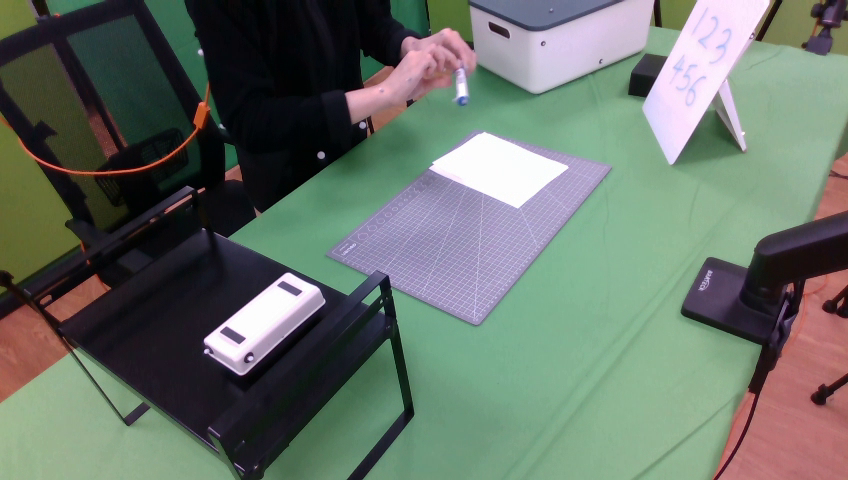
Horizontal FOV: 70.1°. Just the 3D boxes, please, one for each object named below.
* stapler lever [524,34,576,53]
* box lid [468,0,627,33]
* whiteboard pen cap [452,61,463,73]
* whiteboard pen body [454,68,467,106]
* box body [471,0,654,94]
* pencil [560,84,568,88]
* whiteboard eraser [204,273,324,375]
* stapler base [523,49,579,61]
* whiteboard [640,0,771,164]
[{"bbox_3d":[0.297,-0.462,1.423,0.117,0.040,0.027,4,25,17],"label":"stapler lever"},{"bbox_3d":[0.312,-0.554,1.358,0.373,0.015,0.261,-26,44,-20],"label":"box lid"},{"bbox_3d":[0.057,-0.288,1.014,0.018,0.018,0.033,-4,38,4],"label":"whiteboard pen cap"},{"bbox_3d":[0.057,-0.250,0.968,0.017,0.017,0.140,-4,37,3],"label":"whiteboard pen body"},{"bbox_3d":[0.319,-0.498,1.405,0.365,0.161,0.252,-26,43,-21],"label":"box body"},{"bbox_3d":[0.248,-0.394,1.398,0.193,0.012,0.012,34,54,23],"label":"pencil"},{"bbox_3d":[-0.157,0.084,0.605,0.055,0.042,0.113,24,49,30],"label":"whiteboard eraser"},{"bbox_3d":[0.300,-0.441,1.434,0.130,0.024,0.041,3,24,18],"label":"stapler base"},{"bbox_3d":[0.543,-0.299,1.076,0.144,0.305,0.216,12,40,-7],"label":"whiteboard"}]
